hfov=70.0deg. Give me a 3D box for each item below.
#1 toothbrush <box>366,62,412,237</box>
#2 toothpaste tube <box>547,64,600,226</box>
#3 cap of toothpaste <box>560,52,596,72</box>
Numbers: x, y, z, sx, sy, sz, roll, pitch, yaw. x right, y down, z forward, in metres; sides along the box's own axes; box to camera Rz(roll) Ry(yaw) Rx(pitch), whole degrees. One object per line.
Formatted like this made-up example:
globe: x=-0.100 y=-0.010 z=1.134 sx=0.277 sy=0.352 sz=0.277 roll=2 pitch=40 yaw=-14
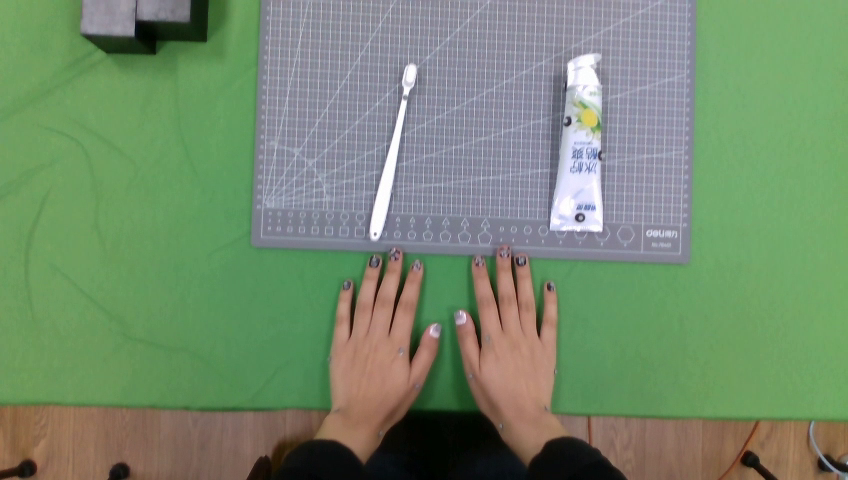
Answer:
toothbrush: x=-0.035 y=-0.092 z=0.611 sx=0.014 sy=0.016 sz=0.181 roll=12 pitch=90 yaw=-17
toothpaste tube: x=0.154 y=-0.097 z=0.617 sx=0.055 sy=0.034 sz=0.165 roll=1 pitch=92 yaw=4
cap of toothpaste: x=0.157 y=-0.179 z=0.613 sx=0.037 sy=0.037 sz=0.011 roll=-11 pitch=86 yaw=-4
